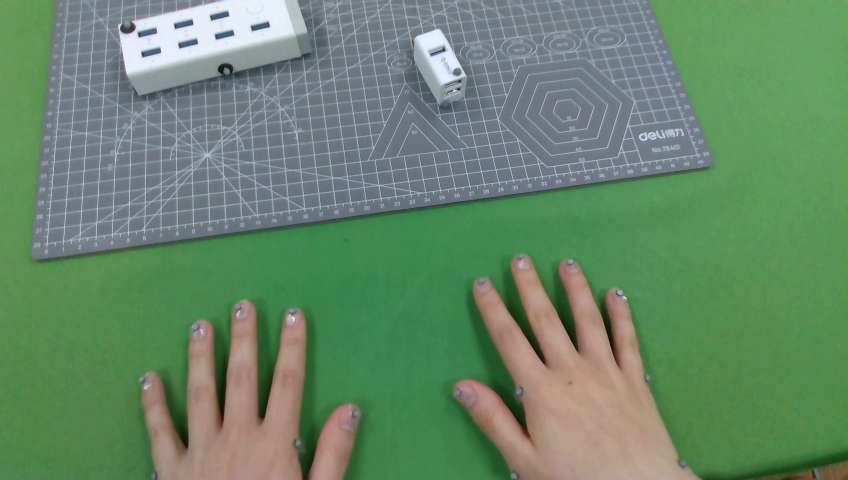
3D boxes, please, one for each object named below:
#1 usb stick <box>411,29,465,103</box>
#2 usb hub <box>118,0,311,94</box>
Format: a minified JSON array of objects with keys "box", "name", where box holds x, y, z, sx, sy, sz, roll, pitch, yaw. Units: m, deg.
[{"box":[0.007,-0.128,0.429,0.021,0.027,0.058,-23,66,-10],"name":"usb stick"},{"box":[-0.148,-0.144,0.431,0.125,0.025,0.049,-16,68,-9],"name":"usb hub"}]
